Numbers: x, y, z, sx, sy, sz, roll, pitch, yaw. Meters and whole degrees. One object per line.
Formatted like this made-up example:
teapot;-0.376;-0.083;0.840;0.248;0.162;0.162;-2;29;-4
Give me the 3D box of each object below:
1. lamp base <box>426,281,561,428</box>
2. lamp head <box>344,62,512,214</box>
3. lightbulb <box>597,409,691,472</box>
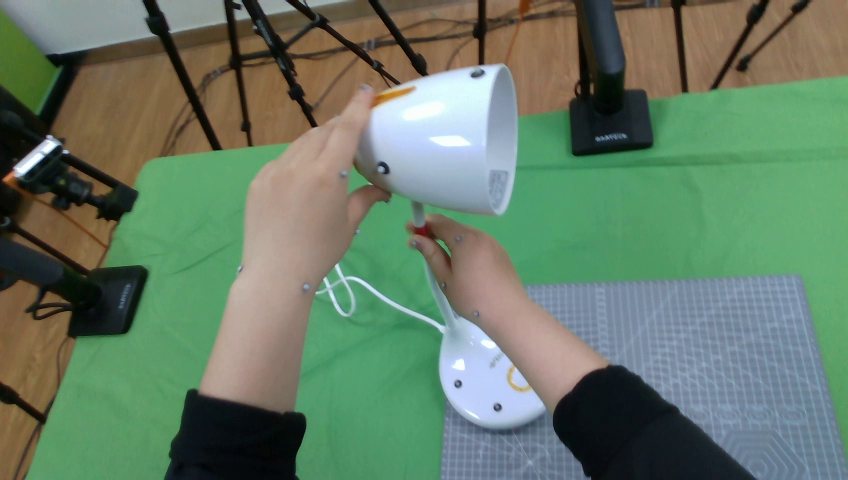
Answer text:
lamp base;0.067;0.120;0.726;0.178;0.182;0.160;21;67;29
lamp head;0.003;-0.073;0.468;0.122;0.113;0.111;-1;59;22
lightbulb;0.249;0.223;0.692;0.107;0.060;0.059;16;64;41
